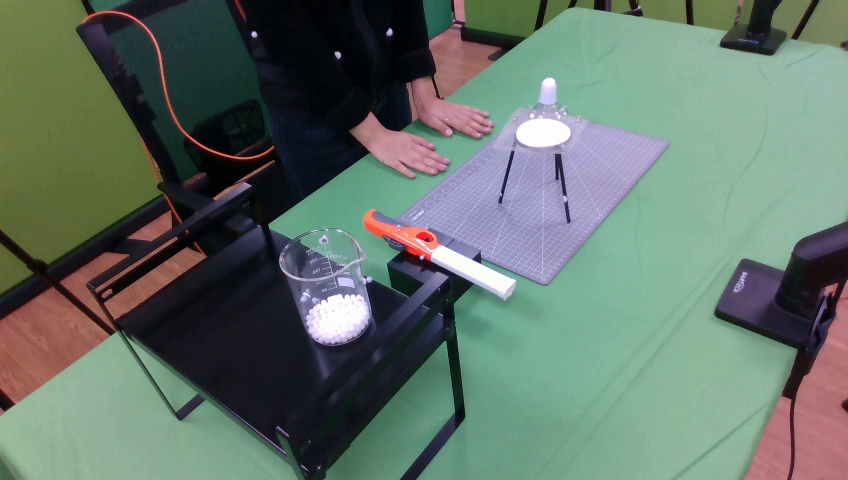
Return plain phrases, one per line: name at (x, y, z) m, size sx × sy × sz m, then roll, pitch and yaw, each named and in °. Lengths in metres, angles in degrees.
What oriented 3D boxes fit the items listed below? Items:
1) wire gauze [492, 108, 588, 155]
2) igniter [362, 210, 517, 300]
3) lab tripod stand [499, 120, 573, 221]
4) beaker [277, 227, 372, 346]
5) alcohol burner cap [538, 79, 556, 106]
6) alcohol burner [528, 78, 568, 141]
wire gauze at (0.185, -0.170, 0.953) m, size 0.121 × 0.011 × 0.125 m, roll 13°, pitch 44°, yaw 22°
igniter at (0.011, 0.015, 0.880) m, size 0.274 × 0.025 × 0.057 m, roll 26°, pitch 48°, yaw 30°
lab tripod stand at (0.198, -0.117, 0.992) m, size 0.148 × 0.132 × 0.147 m, roll -3°, pitch 40°, yaw 3°
beaker at (-0.090, 0.048, 0.593) m, size 0.084 × 0.101 × 0.073 m, roll -3°, pitch 41°, yaw 5°
alcohol burner cap at (0.234, -0.281, 1.141) m, size 0.034 × 0.048 × 0.033 m, roll -2°, pitch 42°, yaw 2°
alcohol burner at (0.238, -0.253, 1.163) m, size 0.078 × 0.119 × 0.077 m, roll -6°, pitch 40°, yaw 6°
